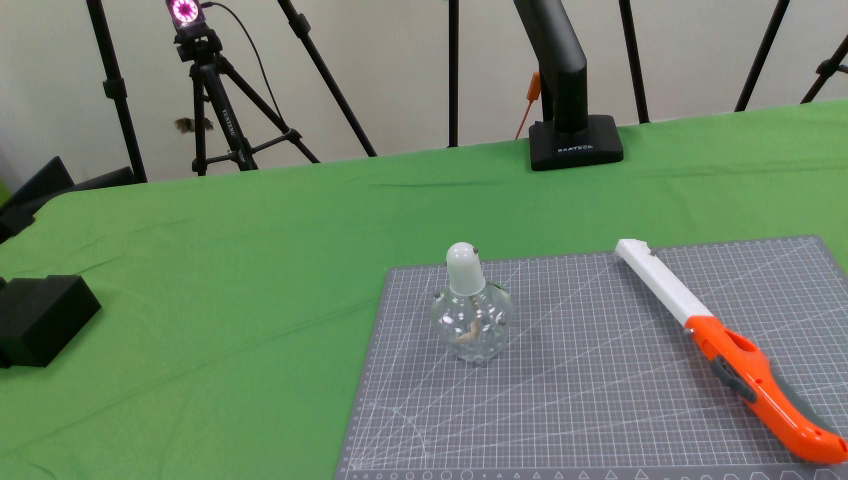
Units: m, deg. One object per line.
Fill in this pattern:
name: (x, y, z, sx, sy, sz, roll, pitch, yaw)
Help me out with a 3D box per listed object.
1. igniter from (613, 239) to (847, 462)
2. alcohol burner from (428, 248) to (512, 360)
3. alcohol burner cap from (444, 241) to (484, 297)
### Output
igniter: (0.241, 0.076, 0.517, 0.057, 0.025, 0.273, 3, 30, -16)
alcohol burner: (0.040, 0.051, 0.545, 0.078, 0.120, 0.077, -7, 37, 6)
alcohol burner cap: (0.033, 0.022, 0.524, 0.034, 0.048, 0.033, -7, 39, 6)
